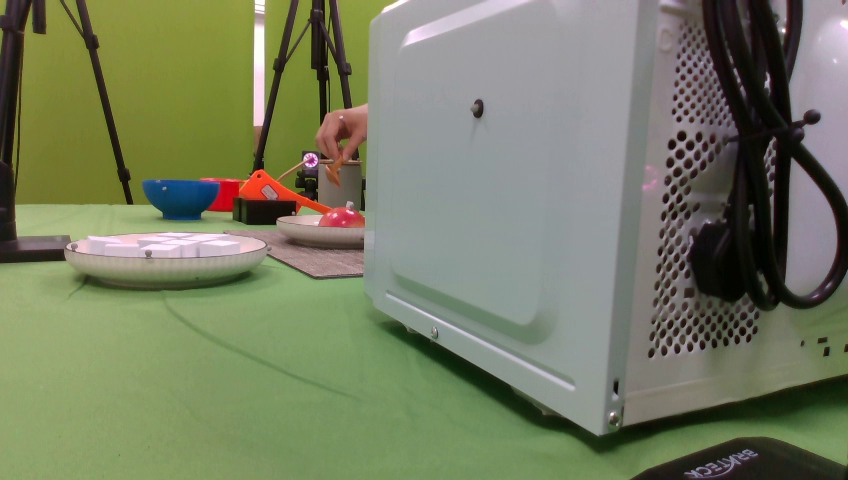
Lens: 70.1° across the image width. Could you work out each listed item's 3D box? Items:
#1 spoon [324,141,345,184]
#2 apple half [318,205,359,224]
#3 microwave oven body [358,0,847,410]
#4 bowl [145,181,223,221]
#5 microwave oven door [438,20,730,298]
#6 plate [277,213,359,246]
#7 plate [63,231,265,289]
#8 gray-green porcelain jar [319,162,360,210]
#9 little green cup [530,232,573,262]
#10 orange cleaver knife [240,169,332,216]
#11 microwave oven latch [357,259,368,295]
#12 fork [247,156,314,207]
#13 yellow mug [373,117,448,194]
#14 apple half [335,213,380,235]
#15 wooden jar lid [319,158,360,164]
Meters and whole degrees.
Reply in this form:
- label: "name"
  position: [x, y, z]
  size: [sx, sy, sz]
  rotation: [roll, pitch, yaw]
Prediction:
- label: "spoon"
  position: [-0.148, -0.140, 1.045]
  size: [0.021, 0.042, 0.193]
  rotation: [-33, 22, 16]
- label: "apple half"
  position: [-0.126, -0.029, 0.954]
  size: [0.081, 0.053, 0.074]
  rotation: [-2, 10, -33]
- label: "microwave oven body"
  position: [0.210, -0.051, 0.471]
  size: [0.444, 0.260, 0.324]
  rotation: [-1, 7, -28]
- label: "bowl"
  position: [-0.499, -0.081, 1.261]
  size: [0.151, 0.077, 0.151]
  rotation: [2, 8, 0]
- label: "microwave oven door"
  position: [0.181, -0.076, 0.618]
  size: [0.358, 0.243, 0.039]
  rotation: [-2, 8, -28]
- label: "plate"
  position: [-0.135, -0.018, 0.993]
  size: [0.209, 0.038, 0.209]
  rotation: [2, 7, 0]
- label: "plate"
  position: [-0.288, 0.021, 0.687]
  size: [0.208, 0.039, 0.207]
  rotation: [2, 8, 0]
- label: "gray-green porcelain jar"
  position: [-0.204, -0.126, 1.489]
  size: [0.106, 0.126, 0.106]
  rotation: [2, 7, 0]
- label: "little green cup"
  position: [0.184, 0.010, 0.879]
  size: [0.061, 0.038, 0.061]
  rotation: [3, 5, 0]
- label: "orange cleaver knife"
  position: [-0.286, -0.082, 1.298]
  size: [0.212, 0.077, 0.012]
  rotation: [25, -2, -31]
- label: "microwave oven latch"
  position: [-0.019, 0.031, 0.529]
  size: [0.079, 0.029, 0.030]
  rotation: [-1, 7, -28]
- label: "fork"
  position: [-0.360, -0.147, 1.523]
  size: [0.207, 0.018, 0.028]
  rotation: [-43, 15, -7]
- label: "yellow mug"
  position: [-0.012, -0.136, 0.933]
  size: [0.100, 0.064, 0.130]
  rotation: [-3, -32, -45]
- label: "apple half"
  position: [-0.112, -0.029, 1.034]
  size: [0.081, 0.033, 0.081]
  rotation: [-1, 9, 0]
- label: "wooden jar lid"
  position: [-0.203, -0.189, 1.482]
  size: [0.108, 0.020, 0.108]
  rotation: [2, 10, 0]
